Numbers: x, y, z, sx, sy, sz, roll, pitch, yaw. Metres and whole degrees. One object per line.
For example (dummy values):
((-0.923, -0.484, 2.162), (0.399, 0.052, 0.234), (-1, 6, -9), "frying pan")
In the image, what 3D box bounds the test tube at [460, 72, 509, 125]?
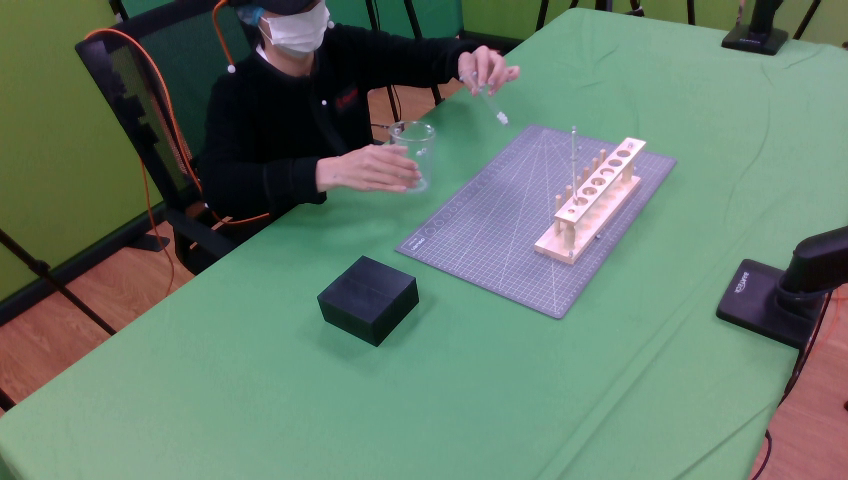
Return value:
((0.106, -0.236, 1.023), (0.017, 0.151, 0.017), (-16, 60, 31), "test tube")

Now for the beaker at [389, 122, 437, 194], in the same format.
((-0.018, -0.132, 0.980), (0.084, 0.100, 0.073), (-21, 43, -34), "beaker")

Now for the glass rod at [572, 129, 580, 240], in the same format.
((0.220, -0.074, 0.871), (0.008, 0.201, 0.008), (-8, 42, 8), "glass rod")

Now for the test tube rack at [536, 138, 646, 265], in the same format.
((0.268, -0.071, 0.964), (0.066, 0.085, 0.243), (23, 49, 32), "test tube rack")
